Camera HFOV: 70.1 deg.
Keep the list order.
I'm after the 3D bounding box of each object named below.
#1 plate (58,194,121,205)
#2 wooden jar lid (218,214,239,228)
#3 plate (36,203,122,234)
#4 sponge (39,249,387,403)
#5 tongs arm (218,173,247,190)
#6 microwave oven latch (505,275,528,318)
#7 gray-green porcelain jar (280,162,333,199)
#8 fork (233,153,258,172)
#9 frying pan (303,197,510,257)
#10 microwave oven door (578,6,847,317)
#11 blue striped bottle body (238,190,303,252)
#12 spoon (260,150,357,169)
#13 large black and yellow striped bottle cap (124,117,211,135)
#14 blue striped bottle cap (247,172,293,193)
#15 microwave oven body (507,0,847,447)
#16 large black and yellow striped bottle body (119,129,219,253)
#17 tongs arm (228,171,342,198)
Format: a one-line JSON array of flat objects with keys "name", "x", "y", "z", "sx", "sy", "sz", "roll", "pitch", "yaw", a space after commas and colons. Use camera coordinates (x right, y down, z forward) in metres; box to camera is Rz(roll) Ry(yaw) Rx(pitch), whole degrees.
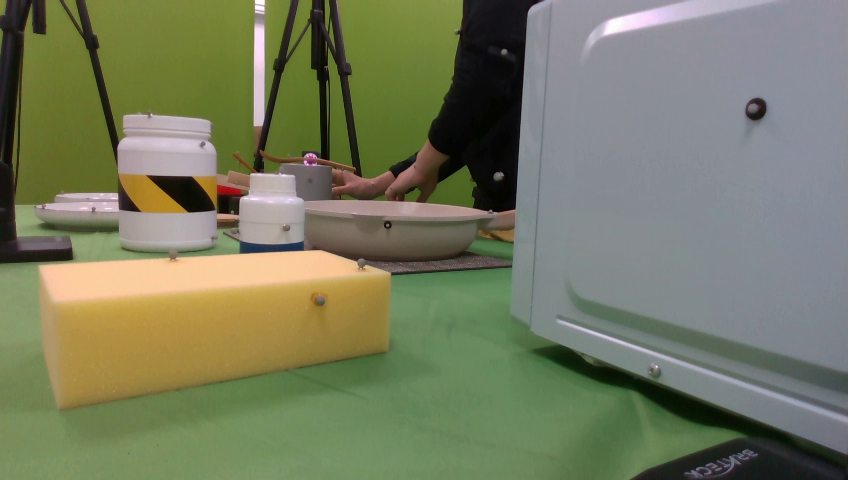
[{"name": "plate", "x": -0.671, "y": -0.074, "z": 1.310, "sx": 0.209, "sy": 0.038, "sz": 0.209, "roll": 2, "pitch": 8, "yaw": 0}, {"name": "wooden jar lid", "x": -0.404, "y": -0.037, "z": 1.169, "sx": 0.108, "sy": 0.020, "sz": 0.108, "roll": 3, "pitch": 7, "yaw": 0}, {"name": "plate", "x": -0.571, "y": -0.040, "z": 1.083, "sx": 0.208, "sy": 0.039, "sz": 0.207, "roll": 2, "pitch": 8, "yaw": 0}, {"name": "sponge", "x": -0.142, "y": 0.047, "z": 0.420, "sx": 0.208, "sy": 0.061, "sz": 0.117, "roll": -3, "pitch": 8, "yaw": -36}, {"name": "tongs arm", "x": -0.315, "y": -0.111, "z": 1.448, "sx": 0.389, "sy": 0.027, "sz": 0.028, "roll": 11, "pitch": -6, "yaw": -26}, {"name": "microwave oven latch", "x": 0.100, "y": 0.041, "z": 0.472, "sx": 0.079, "sy": 0.029, "sz": 0.030, "roll": -2, "pitch": 8, "yaw": -30}, {"name": "gray-green porcelain jar", "x": -0.238, "y": -0.092, "z": 1.220, "sx": 0.106, "sy": 0.126, "sz": 0.106, "roll": 2, "pitch": 7, "yaw": 0}, {"name": "fork", "x": -0.396, "y": -0.143, "z": 1.486, "sx": 0.028, "sy": 0.018, "sz": 0.208, "roll": 20, "pitch": -26, "yaw": 45}, {"name": "frying pan", "x": 0.050, "y": -0.035, "z": 0.915, "sx": 0.487, "sy": 0.102, "sz": 0.307, "roll": -5, "pitch": 7, "yaw": 11}, {"name": "microwave oven door", "x": 0.294, "y": -0.067, "z": 0.570, "sx": 0.358, "sy": 0.243, "sz": 0.039, "roll": -3, "pitch": 9, "yaw": -31}, {"name": "blue striped bottle body", "x": -0.153, "y": -0.007, "z": 0.606, "sx": 0.063, "sy": 0.120, "sz": 0.063, "roll": 2, "pitch": 7, "yaw": 0}, {"name": "spoon", "x": -0.231, "y": -0.162, "z": 1.221, "sx": 0.194, "sy": 0.021, "sz": 0.041, "roll": 3, "pitch": 3, "yaw": -15}, {"name": "large black and yellow striped bottle cap", "x": -0.366, "y": -0.163, "z": 0.866, "sx": 0.115, "sy": 0.019, "sz": 0.115, "roll": 3, "pitch": 7, "yaw": 0}, {"name": "blue striped bottle cap", "x": -0.152, "y": -0.057, "z": 0.598, "sx": 0.044, "sy": 0.020, "sz": 0.044, "roll": 4, "pitch": 7, "yaw": 0}, {"name": "microwave oven body", "x": 0.331, "y": -0.042, "z": 0.425, "sx": 0.444, "sy": 0.260, "sz": 0.324, "roll": -2, "pitch": 8, "yaw": -31}, {"name": "large black and yellow striped bottle body", "x": -0.367, "y": -0.080, "z": 0.876, "sx": 0.131, "sy": 0.184, "sz": 0.130, "roll": 2, "pitch": 7, "yaw": 0}, {"name": "tongs arm", "x": -0.267, "y": -0.103, "z": 1.378, "sx": 0.387, "sy": 0.026, "sz": 0.050, "roll": 11, "pitch": -3, "yaw": -40}]
